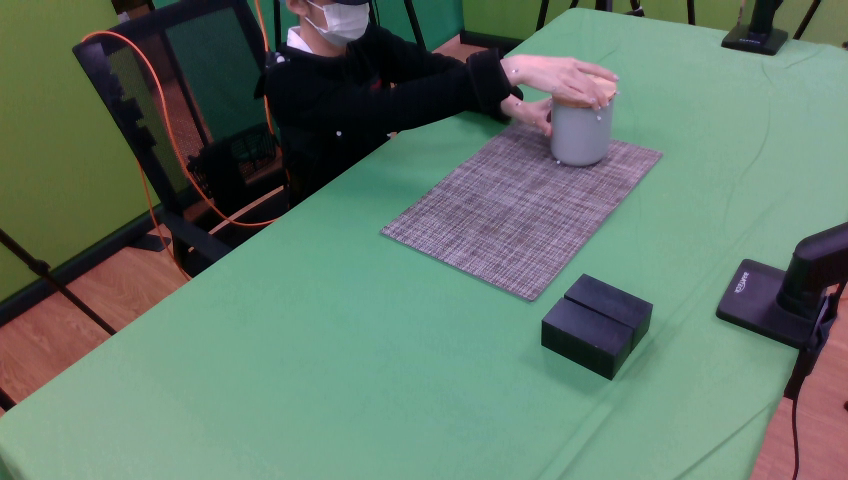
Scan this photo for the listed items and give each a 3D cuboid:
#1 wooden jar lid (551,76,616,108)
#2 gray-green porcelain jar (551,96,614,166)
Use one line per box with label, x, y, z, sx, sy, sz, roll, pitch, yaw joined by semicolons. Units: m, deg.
wooden jar lid;0.275;-0.252;1.046;0.108;0.021;0.108;-6;39;5
gray-green porcelain jar;0.282;-0.205;1.087;0.106;0.127;0.105;-5;40;4
